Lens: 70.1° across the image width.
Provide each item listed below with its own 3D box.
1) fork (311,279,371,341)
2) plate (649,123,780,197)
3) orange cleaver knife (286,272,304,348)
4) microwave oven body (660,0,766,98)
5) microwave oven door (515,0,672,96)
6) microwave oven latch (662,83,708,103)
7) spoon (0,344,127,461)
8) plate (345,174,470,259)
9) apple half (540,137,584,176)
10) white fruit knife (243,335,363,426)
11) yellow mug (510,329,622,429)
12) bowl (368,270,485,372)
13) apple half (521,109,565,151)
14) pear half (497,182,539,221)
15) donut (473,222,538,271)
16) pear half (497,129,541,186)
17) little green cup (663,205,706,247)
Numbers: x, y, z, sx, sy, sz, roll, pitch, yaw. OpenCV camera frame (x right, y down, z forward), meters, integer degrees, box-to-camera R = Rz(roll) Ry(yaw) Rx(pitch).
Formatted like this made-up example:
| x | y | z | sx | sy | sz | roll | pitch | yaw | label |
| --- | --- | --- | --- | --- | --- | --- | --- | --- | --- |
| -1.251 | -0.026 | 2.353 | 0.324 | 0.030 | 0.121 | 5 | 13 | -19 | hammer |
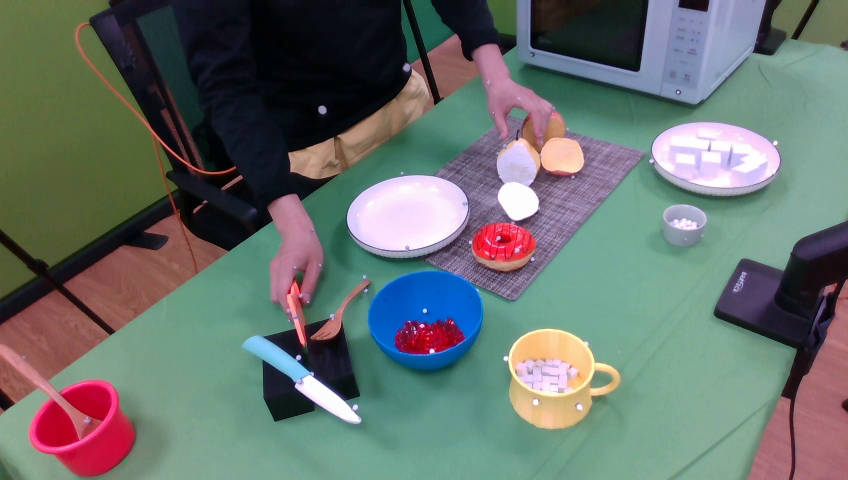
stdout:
| x | y | z | sx | sy | sz | roll | pitch | yaw | label |
| --- | --- | --- | --- | --- | --- | --- | --- | --- | --- |
| -0.108 | 0.092 | 0.832 | 0.028 | 0.019 | 0.207 | -5 | 19 | 15 | fork |
| 0.497 | -0.135 | 1.046 | 0.207 | 0.039 | 0.206 | -4 | 40 | 4 | plate |
| -0.179 | 0.092 | 0.845 | 0.012 | 0.077 | 0.210 | -15 | 12 | -9 | orange cleaver knife |
| 0.472 | -0.513 | 1.317 | 0.438 | 0.261 | 0.327 | 26 | 51 | 34 | microwave oven body |
| 0.343 | -0.455 | 1.259 | 0.353 | 0.245 | 0.039 | 26 | 51 | 33 | microwave oven door |
| 0.518 | -0.296 | 1.204 | 0.078 | 0.029 | 0.030 | 28 | 52 | 35 | microwave oven latch |
| -0.433 | 0.191 | 0.720 | 0.194 | 0.021 | 0.042 | 47 | 52 | -6 | spoon |
| -0.026 | -0.037 | 1.004 | 0.209 | 0.038 | 0.208 | -4 | 40 | 4 | plate |
| 0.247 | -0.146 | 1.089 | 0.081 | 0.033 | 0.081 | -1 | 65 | 4 | apple half |
| -0.148 | 0.167 | 0.730 | 0.206 | 0.016 | 0.027 | 26 | 80 | 31 | white fruit knife |
| 0.168 | 0.164 | 0.721 | 0.130 | 0.064 | 0.099 | 1 | 40 | 8 | yellow mug |
| 0.007 | 0.118 | 0.791 | 0.151 | 0.077 | 0.150 | -5 | 40 | 4 | bowl |
| 0.224 | -0.212 | 1.145 | 0.080 | 0.075 | 0.053 | -6 | 36 | 9 | apple half |
| 0.154 | -0.057 | 1.005 | 0.070 | 0.031 | 0.088 | 14 | 52 | 5 | pear half |
| 0.123 | 0.008 | 0.923 | 0.099 | 0.048 | 0.098 | -3 | 38 | 3 | donut |
| 0.167 | -0.151 | 1.053 | 0.076 | 0.110 | 0.056 | 8 | 42 | 14 | pear half |
| 0.396 | -0.021 | 0.926 | 0.061 | 0.039 | 0.061 | -4 | 40 | 4 | little green cup |
